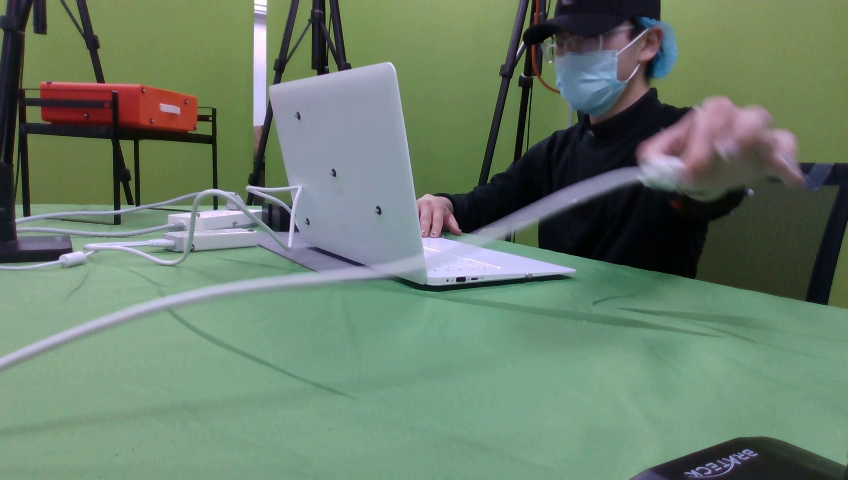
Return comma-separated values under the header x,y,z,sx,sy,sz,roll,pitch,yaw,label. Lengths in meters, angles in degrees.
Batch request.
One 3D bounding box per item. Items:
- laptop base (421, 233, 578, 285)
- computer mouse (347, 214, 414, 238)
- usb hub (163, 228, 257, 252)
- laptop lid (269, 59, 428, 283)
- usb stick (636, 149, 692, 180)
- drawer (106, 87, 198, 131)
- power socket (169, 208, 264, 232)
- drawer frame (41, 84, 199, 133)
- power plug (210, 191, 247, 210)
x,y,z,sx,sy,sz,roll,pitch,yaw,label
0.007,0.022,0.850,0.237,0.023,0.352,1,7,-34,laptop base
-0.079,-0.025,1.080,0.117,0.041,0.062,-5,11,-18,computer mouse
-0.314,0.000,0.894,0.049,0.025,0.126,9,10,41,usb hub
-0.110,-0.087,0.752,0.013,0.241,0.355,-18,19,-30,laptop lid
0.193,-0.059,0.479,0.027,0.021,0.059,14,12,40,usb stick
-0.602,-0.263,1.225,0.211,0.073,0.195,3,8,10,drawer
-0.381,-0.038,1.128,0.072,0.032,0.227,4,8,17,power socket
-0.604,-0.264,1.225,0.213,0.082,0.202,3,8,8,drawer frame
-0.386,-0.071,1.204,0.072,0.052,0.035,8,10,25,power plug
